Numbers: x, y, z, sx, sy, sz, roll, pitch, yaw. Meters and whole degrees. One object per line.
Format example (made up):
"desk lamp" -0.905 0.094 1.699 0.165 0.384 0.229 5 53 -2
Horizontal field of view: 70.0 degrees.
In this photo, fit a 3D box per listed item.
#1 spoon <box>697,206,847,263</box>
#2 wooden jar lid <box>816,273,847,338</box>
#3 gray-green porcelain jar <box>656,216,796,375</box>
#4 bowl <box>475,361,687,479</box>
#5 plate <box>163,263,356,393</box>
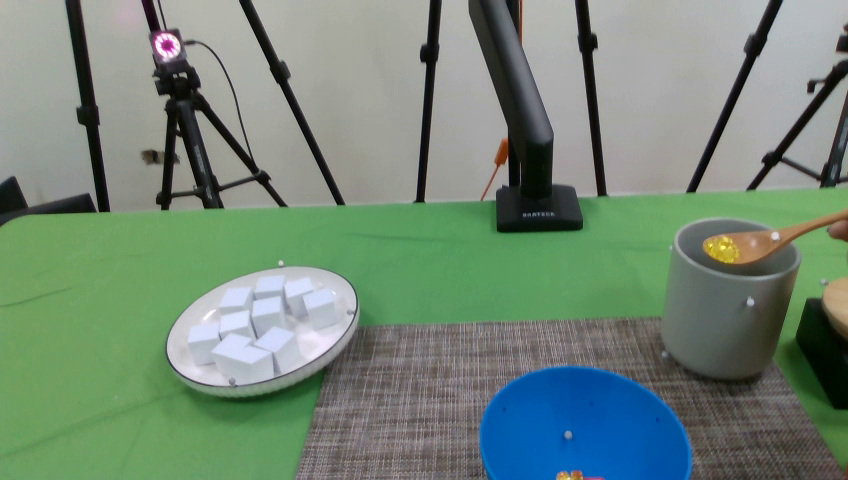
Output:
"spoon" 0.327 -0.015 0.495 0.193 0.022 0.041 -18 31 21
"wooden jar lid" 0.421 0.068 0.555 0.108 0.021 0.107 -5 31 3
"gray-green porcelain jar" 0.282 0.057 0.580 0.106 0.127 0.105 -4 32 3
"bowl" 0.115 0.172 0.462 0.151 0.077 0.150 -4 31 3
"plate" -0.177 0.097 0.672 0.209 0.038 0.207 -4 31 3
